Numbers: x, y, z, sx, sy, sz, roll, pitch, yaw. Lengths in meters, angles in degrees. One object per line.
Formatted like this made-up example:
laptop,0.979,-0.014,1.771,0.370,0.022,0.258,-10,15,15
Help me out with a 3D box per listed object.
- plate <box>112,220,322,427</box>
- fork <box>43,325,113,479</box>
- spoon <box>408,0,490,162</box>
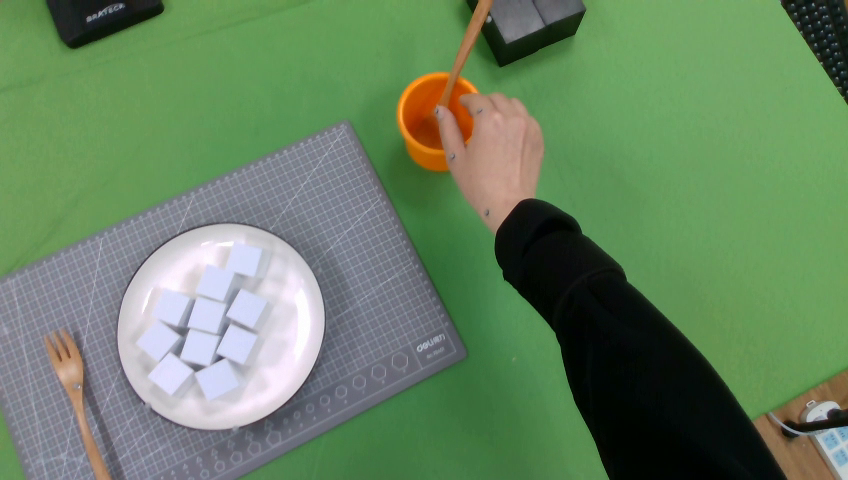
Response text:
plate,-0.207,0.084,0.623,0.208,0.039,0.206,0,78,-1
fork,-0.339,0.183,0.608,0.028,0.019,0.206,-24,78,-11
spoon,0.028,-0.166,0.626,0.041,0.195,0.021,32,36,10
